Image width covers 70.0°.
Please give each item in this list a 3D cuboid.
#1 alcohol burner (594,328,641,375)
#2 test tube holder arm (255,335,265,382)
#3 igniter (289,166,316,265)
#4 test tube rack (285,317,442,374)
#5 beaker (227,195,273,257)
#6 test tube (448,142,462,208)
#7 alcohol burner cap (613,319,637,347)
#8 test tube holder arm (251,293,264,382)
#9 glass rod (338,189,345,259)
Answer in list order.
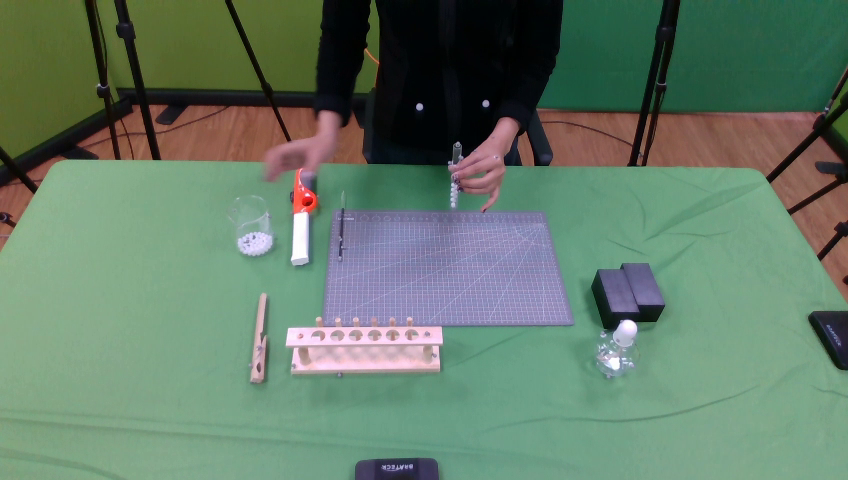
[{"bbox_3d":[0.322,0.170,0.994,0.078,0.119,0.077,3,48,-3],"label":"alcohol burner"},{"bbox_3d":[-0.270,0.193,0.997,0.010,0.015,0.087,24,36,-32],"label":"test tube holder arm"},{"bbox_3d":[-0.248,-0.058,1.233,0.057,0.025,0.274,-9,46,1],"label":"igniter"},{"bbox_3d":[-0.095,0.166,0.988,0.242,0.085,0.066,0,46,-4],"label":"test tube rack"},{"bbox_3d":[-0.326,-0.022,1.142,0.074,0.101,0.083,10,47,6],"label":"beaker"},{"bbox_3d":[0.056,-0.114,1.099,0.017,0.151,0.017,1,47,-1],"label":"test tube"},{"bbox_3d":[0.323,0.146,0.966,0.034,0.048,0.033,-1,52,2],"label":"alcohol burner cap"},{"bbox_3d":[-0.281,0.160,1.025,0.013,0.015,0.177,23,36,-32],"label":"test tube holder arm"},{"bbox_3d":[-0.166,-0.037,1.226,0.008,0.008,0.198,-1,47,-4],"label":"glass rod"}]
